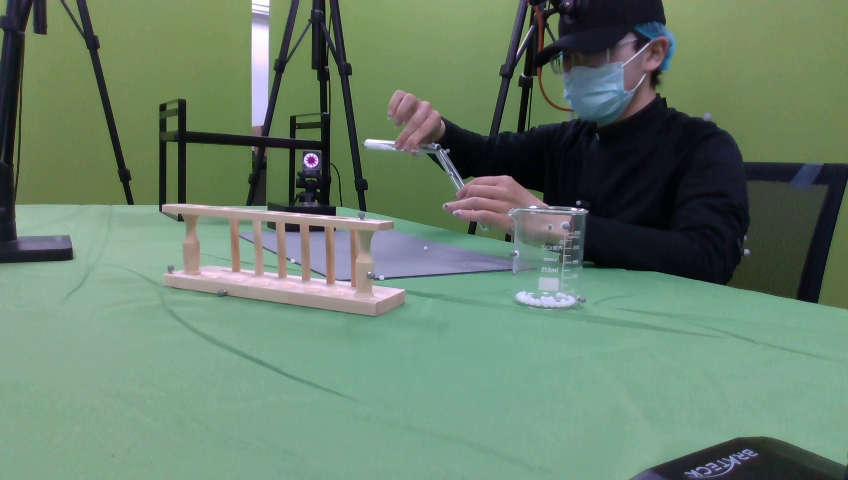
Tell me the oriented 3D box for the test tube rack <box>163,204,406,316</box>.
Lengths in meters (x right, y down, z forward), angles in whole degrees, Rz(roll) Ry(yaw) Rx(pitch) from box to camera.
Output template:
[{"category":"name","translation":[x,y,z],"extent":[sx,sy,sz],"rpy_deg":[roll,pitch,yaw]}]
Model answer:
[{"category":"test tube rack","translation":[-0.141,0.013,0.601],"extent":[0.241,0.085,0.067],"rpy_deg":[5,8,21]}]

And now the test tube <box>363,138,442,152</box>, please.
[{"category":"test tube","translation":[-0.038,-0.154,0.978],"extent":[0.149,0.017,0.017],"rpy_deg":[9,10,32]}]

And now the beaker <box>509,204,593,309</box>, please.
[{"category":"beaker","translation":[0.125,0.015,0.613],"extent":[0.084,0.100,0.074],"rpy_deg":[1,7,-5]}]

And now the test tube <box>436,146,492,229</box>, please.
[{"category":"test tube","translation":[0.061,-0.080,0.920],"extent":[0.017,0.150,0.017],"rpy_deg":[-29,-14,-7]}]
